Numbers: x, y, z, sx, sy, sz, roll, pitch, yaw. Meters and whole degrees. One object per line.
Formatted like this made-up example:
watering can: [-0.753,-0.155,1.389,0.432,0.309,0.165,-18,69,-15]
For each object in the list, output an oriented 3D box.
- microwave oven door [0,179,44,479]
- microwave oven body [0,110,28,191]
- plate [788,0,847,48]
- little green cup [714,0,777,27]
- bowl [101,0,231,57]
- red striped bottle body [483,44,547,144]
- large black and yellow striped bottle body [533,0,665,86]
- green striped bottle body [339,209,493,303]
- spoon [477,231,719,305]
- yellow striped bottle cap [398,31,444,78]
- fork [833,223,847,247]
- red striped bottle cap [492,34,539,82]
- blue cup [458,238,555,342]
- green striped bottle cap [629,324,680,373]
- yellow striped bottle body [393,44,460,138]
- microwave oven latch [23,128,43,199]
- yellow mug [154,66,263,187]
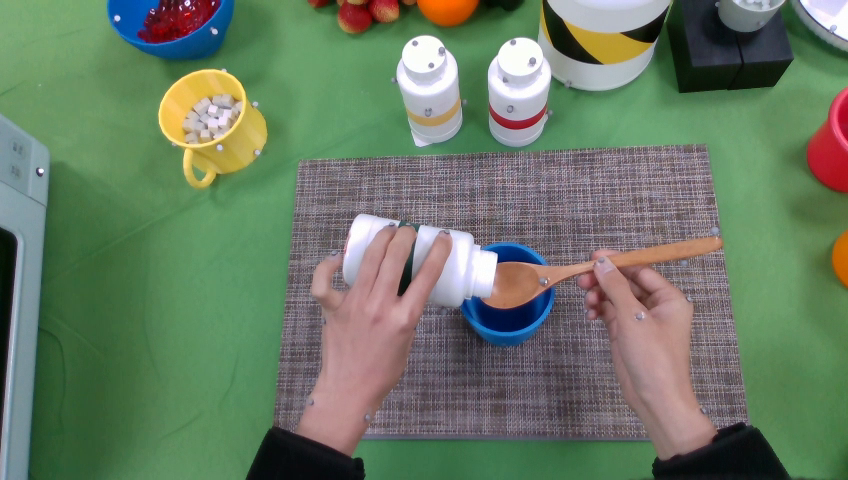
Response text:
microwave oven door: [-0.435,0.084,0.521,0.039,0.245,0.353,-11,70,3]
microwave oven body: [-0.584,0.073,0.547,0.326,0.262,0.438,-11,70,2]
plate: [0.503,-0.290,0.674,0.209,0.038,0.207,-2,71,6]
little green cup: [0.333,-0.254,0.626,0.061,0.039,0.061,-2,69,5]
bowl: [-0.299,-0.279,0.739,0.151,0.077,0.150,-2,71,5]
red striped bottle body: [0.096,-0.156,0.630,0.063,0.120,0.062,-4,68,10]
large black and yellow striped bottle body: [0.182,-0.261,0.622,0.130,0.185,0.130,-2,70,6]
green striped bottle body: [-0.005,0.015,0.496,0.119,0.063,0.063,10,72,4]
spoon: [0.133,0.019,0.487,0.193,0.022,0.041,-14,65,20]
yellow striped bottle cap: [-0.003,-0.182,0.594,0.044,0.019,0.044,-2,72,5]
fork: [0.450,0.023,0.511,0.028,0.019,0.205,-39,27,-7]
red striped bottle cap: [0.088,-0.175,0.581,0.044,0.018,0.044,-1,69,2]
blue cup: [0.073,0.055,0.563,0.092,0.101,0.092,-2,69,5]
green striped bottle cap: [0.219,0.103,0.576,0.044,0.020,0.044,-2,67,5]
yellow striped bottle body: [0.003,-0.164,0.642,0.063,0.121,0.062,-2,70,7]
microwave oven latch: [-0.455,-0.086,0.690,0.030,0.030,0.078,-9,71,3]
yellow mug: [-0.246,-0.122,0.684,0.100,0.064,0.130,8,72,8]
